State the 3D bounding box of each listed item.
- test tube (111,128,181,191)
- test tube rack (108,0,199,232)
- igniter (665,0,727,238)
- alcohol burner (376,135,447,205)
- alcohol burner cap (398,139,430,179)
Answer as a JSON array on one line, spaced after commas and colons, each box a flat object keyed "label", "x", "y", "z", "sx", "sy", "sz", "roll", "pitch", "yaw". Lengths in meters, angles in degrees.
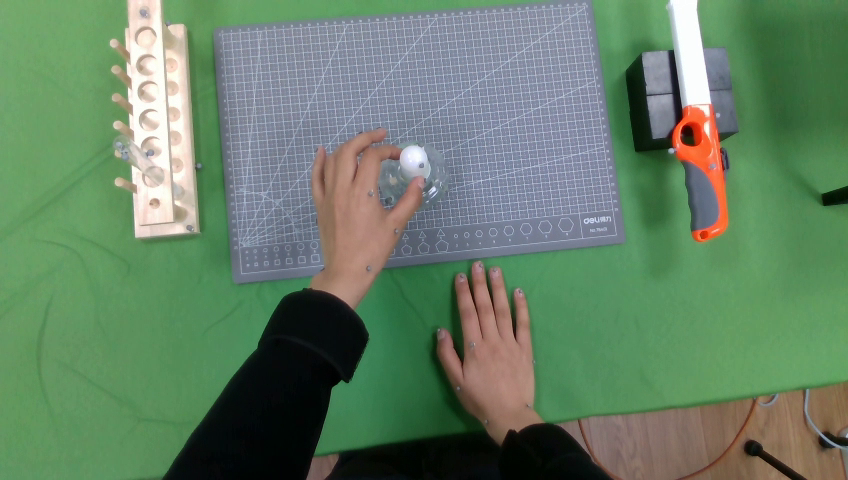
[{"label": "test tube", "x": -0.267, "y": -0.075, "z": 0.594, "sx": 0.017, "sy": 0.150, "sz": 0.017, "roll": 1, "pitch": 78, "yaw": -4}, {"label": "test tube rack", "x": -0.295, "y": -0.136, "z": 0.648, "sx": 0.067, "sy": 0.085, "sz": 0.241, "roll": -5, "pitch": 84, "yaw": -3}, {"label": "igniter", "x": 0.296, "y": -0.139, "z": 0.666, "sx": 0.057, "sy": 0.025, "sz": 0.275, "roll": -3, "pitch": 83, "yaw": -1}, {"label": "alcohol burner", "x": -0.013, "y": -0.077, "z": 0.642, "sx": 0.078, "sy": 0.119, "sz": 0.077, "roll": 0, "pitch": 85, "yaw": -3}, {"label": "alcohol burner cap", "x": -0.011, "y": -0.083, "z": 0.605, "sx": 0.034, "sy": 0.048, "sz": 0.033, "roll": 0, "pitch": 78, "yaw": 1}]
